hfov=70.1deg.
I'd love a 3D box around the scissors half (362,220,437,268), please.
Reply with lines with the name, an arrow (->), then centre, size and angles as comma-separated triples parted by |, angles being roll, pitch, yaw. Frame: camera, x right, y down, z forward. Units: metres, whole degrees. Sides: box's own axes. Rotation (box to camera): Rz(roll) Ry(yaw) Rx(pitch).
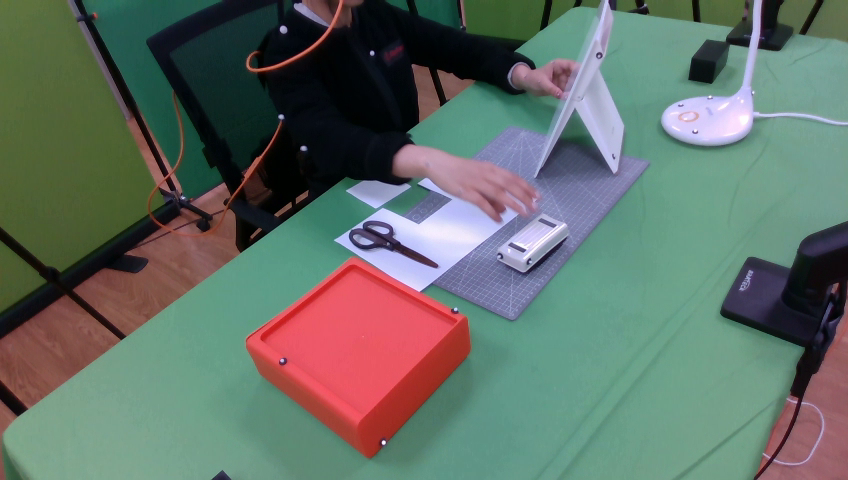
scissors half -> -0.039, 0.006, 0.988 | 0.040, 0.013, 0.173 | -24, 42, -35

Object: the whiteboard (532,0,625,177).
whiteboard -> 0.320, -0.258, 1.050 | 0.144, 0.306, 0.217 | 21, 45, 5

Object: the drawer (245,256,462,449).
drawer -> -0.089, 0.136, 0.792 | 0.210, 0.073, 0.195 | 26, 51, 34

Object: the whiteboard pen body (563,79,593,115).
whiteboard pen body -> 0.328, -0.306, 1.278 | 0.017, 0.017, 0.141 | 20, 51, 30

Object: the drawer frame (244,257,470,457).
drawer frame -> -0.084, 0.138, 0.788 | 0.212, 0.083, 0.202 | 25, 50, 33

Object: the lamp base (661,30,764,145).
lamp base -> 0.535, -0.287, 1.096 | 0.179, 0.181, 0.159 | -10, 40, -4

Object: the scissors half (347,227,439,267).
scissors half -> -0.053, 0.015, 0.975 | 0.174, 0.013, 0.040 | 18, 42, 23

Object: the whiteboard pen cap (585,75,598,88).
whiteboard pen cap -> 0.362, -0.343, 1.310 | 0.018, 0.018, 0.033 | 19, 54, 29

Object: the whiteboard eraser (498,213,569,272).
whiteboard eraser -> 0.168, 0.006, 0.923 | 0.113, 0.042, 0.055 | -36, 49, -28
